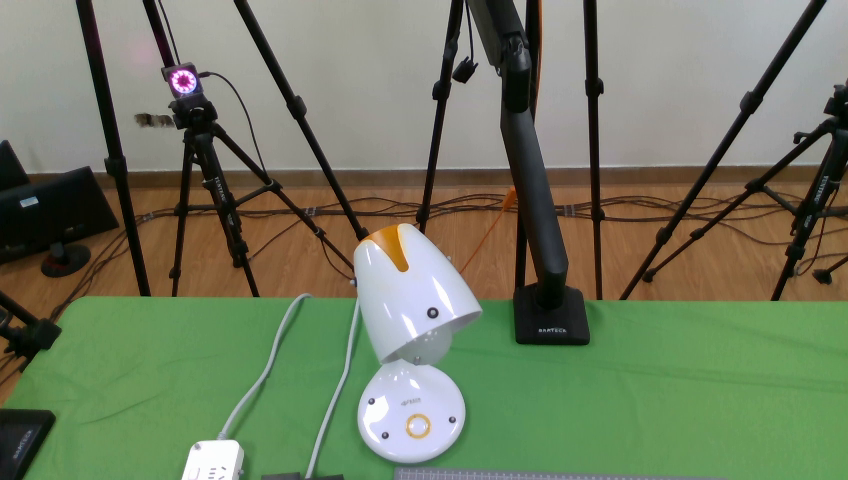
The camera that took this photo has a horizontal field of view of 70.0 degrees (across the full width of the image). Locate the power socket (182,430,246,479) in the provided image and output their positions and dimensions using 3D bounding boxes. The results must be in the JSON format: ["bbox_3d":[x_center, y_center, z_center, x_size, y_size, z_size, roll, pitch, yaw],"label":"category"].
[{"bbox_3d":[-0.291,0.354,0.797,0.072,0.033,0.224,-1,43,1],"label":"power socket"}]

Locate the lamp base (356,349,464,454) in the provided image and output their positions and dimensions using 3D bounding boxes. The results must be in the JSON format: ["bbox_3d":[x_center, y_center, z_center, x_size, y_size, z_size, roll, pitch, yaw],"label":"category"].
[{"bbox_3d":[-0.031,0.180,0.856,0.161,0.182,0.177,-20,43,-16],"label":"lamp base"}]

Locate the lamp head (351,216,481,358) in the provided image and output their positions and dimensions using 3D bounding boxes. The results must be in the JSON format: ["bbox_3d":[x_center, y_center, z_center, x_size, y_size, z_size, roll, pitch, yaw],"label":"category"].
[{"bbox_3d":[-0.019,0.040,0.595,0.112,0.113,0.122,-22,70,-18],"label":"lamp head"}]
